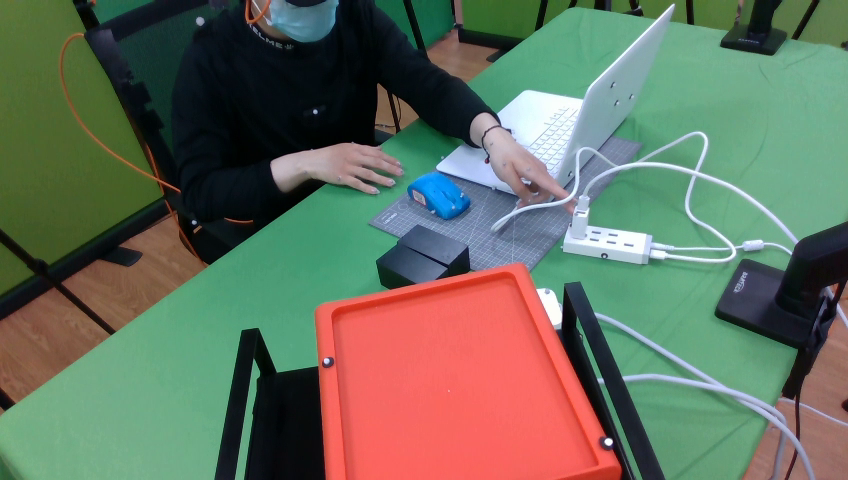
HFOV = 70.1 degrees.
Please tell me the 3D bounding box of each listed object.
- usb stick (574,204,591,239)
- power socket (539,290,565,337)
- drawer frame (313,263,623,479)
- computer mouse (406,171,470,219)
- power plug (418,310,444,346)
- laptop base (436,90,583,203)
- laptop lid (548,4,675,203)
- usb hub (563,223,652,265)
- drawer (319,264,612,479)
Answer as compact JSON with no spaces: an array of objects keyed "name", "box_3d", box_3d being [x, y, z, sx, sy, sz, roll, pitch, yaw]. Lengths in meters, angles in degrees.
[{"name":"usb stick","box_3d":[0.240,-0.023,0.914,0.021,0.059,0.027,-4,34,19]},{"name":"power socket","box_3d":[0.081,0.112,0.822,0.227,0.033,0.072,-6,41,0]},{"name":"drawer frame","box_3d":[0.021,0.130,0.493,0.202,0.083,0.212,-11,41,-6]},{"name":"computer mouse","box_3d":[0.024,-0.082,1.049,0.063,0.041,0.116,-30,50,-27]},{"name":"power plug","box_3d":[0.007,0.122,0.785,0.035,0.053,0.072,0,39,7]},{"name":"laptop base","box_3d":[0.214,-0.192,1.172,0.233,0.023,0.355,19,46,32]},{"name":"laptop lid","box_3d":[0.321,-0.234,1.025,0.013,0.242,0.357,31,50,19]},{"name":"usb hub","box_3d":[0.280,0.005,0.924,0.124,0.025,0.049,10,44,18]},{"name":"drawer","box_3d":[0.020,0.129,0.497,0.195,0.073,0.210,-11,41,-5]}]
